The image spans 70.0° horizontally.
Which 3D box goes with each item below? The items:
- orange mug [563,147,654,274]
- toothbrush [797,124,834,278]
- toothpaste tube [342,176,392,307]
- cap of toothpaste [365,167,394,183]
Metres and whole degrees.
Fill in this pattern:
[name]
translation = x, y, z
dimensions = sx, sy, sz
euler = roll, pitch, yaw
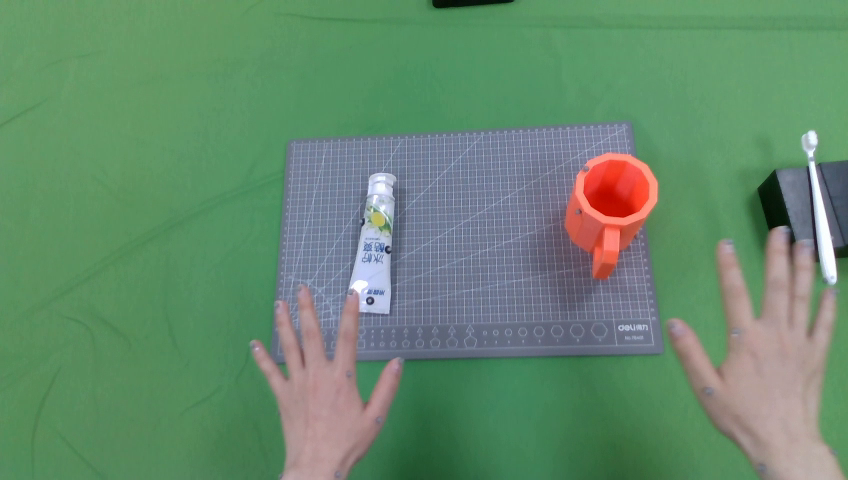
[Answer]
[orange mug]
translation = 0.204, -0.029, 0.683
dimensions = 0.083, 0.101, 0.125
euler = 6, 67, 8
[toothbrush]
translation = 0.430, -0.047, 0.663
dimensions = 0.014, 0.017, 0.180
euler = 3, 71, 3
[toothpaste tube]
translation = -0.064, -0.001, 0.736
dimensions = 0.055, 0.035, 0.164
euler = 1, 75, 12
[cap of toothpaste]
translation = -0.056, -0.079, 0.756
dimensions = 0.037, 0.037, 0.011
euler = -6, 69, 3
